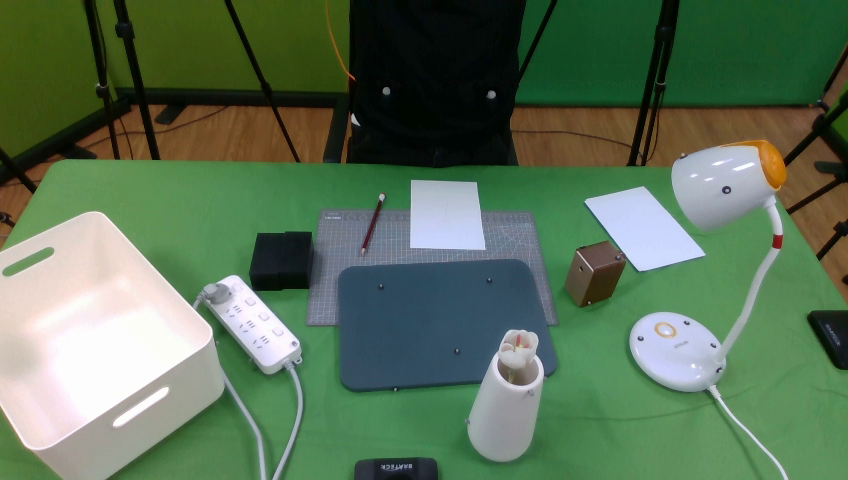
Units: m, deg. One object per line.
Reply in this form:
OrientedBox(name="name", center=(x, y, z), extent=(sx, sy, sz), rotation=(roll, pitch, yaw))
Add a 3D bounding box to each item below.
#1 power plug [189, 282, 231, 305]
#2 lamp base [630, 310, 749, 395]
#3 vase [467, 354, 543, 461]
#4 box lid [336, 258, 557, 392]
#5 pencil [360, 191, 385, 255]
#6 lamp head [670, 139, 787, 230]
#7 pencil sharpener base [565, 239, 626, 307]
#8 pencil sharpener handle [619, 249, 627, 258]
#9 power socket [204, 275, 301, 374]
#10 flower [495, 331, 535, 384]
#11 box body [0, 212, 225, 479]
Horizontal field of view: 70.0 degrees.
OrientedBox(name="power plug", center=(-0.368, 0.097, 1.039), extent=(0.072, 0.053, 0.035), rotation=(-26, 55, -20))
OrientedBox(name="lamp base", center=(0.447, 0.143, 0.984), extent=(0.161, 0.181, 0.178), rotation=(-24, 55, -24))
OrientedBox(name="vase", center=(0.116, 0.234, 0.861), extent=(0.098, 0.201, 0.097), rotation=(1, 47, -1))
OrientedBox(name="box lid", center=(0.030, 0.140, 1.073), extent=(0.372, 0.015, 0.261), rotation=(-3, 47, -7))
OrientedBox(name="pencil", center=(-0.105, -0.037, 1.229), extent=(0.012, 0.012, 0.193), rotation=(10, 45, 5))
OrientedBox(name="lamp head", center=(0.415, -0.078, 0.811), extent=(0.113, 0.123, 0.112), rotation=(12, 70, -37))
OrientedBox(name="pencil sharpener base", center=(0.313, 0.060, 1.104), extent=(0.077, 0.107, 0.061), rotation=(-15, 49, -18))
OrientedBox(name="pencil sharpener handle", center=(0.359, 0.036, 1.112), extent=(0.031, 0.068, 0.036), rotation=(-15, 61, -18))
OrientedBox(name="power socket", center=(-0.296, 0.140, 1.035), extent=(0.072, 0.033, 0.225), rotation=(-33, 57, -29))
OrientedBox(name="flower", center=(0.110, 0.187, 0.791), extent=(0.044, 0.363, 0.038), rotation=(-31, 65, -10))
OrientedBox(name="box body", center=(-0.504, 0.154, 0.916), extent=(0.362, 0.161, 0.254), rotation=(36, 54, 27))
